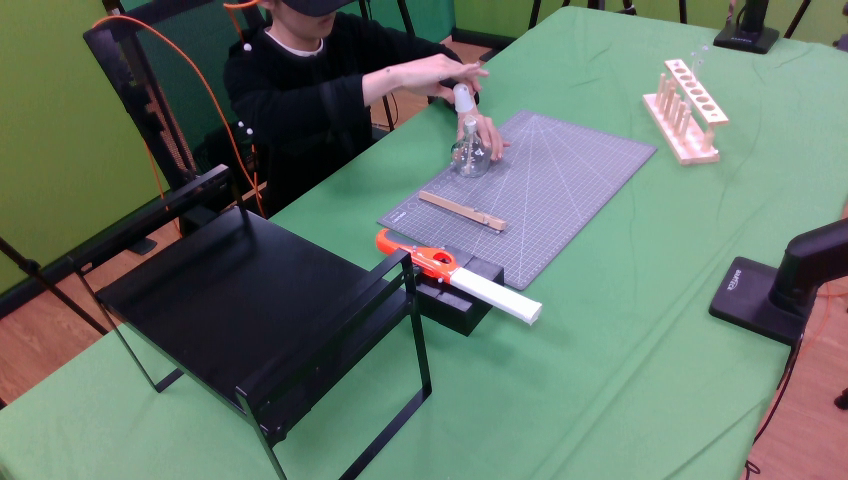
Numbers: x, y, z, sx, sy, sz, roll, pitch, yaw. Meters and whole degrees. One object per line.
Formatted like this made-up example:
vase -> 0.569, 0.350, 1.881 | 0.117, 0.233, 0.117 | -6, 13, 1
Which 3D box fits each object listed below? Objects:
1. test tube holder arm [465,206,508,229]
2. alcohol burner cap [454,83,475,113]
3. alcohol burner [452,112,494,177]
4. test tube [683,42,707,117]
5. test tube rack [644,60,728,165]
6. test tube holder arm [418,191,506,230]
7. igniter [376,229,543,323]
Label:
test tube holder arm -> 0.100, -0.038, 1.005 | 0.087, 0.015, 0.010 | 23, 14, 32
alcohol burner cap -> 0.068, -0.247, 1.037 | 0.034, 0.048, 0.033 | -10, 43, 9
alcohol burner -> 0.088, -0.176, 1.092 | 0.078, 0.119, 0.077 | -5, 39, 4
test tube -> 0.497, -0.292, 1.114 | 0.017, 0.151, 0.017 | -4, 44, 4
test tube rack -> 0.485, -0.246, 1.140 | 0.067, 0.085, 0.241 | -5, 41, 4
test tube holder arm -> 0.061, -0.052, 1.024 | 0.177, 0.015, 0.013 | 23, 14, 31
igniter -> 0.038, 0.044, 0.843 | 0.274, 0.025, 0.057 | 25, 47, 29
